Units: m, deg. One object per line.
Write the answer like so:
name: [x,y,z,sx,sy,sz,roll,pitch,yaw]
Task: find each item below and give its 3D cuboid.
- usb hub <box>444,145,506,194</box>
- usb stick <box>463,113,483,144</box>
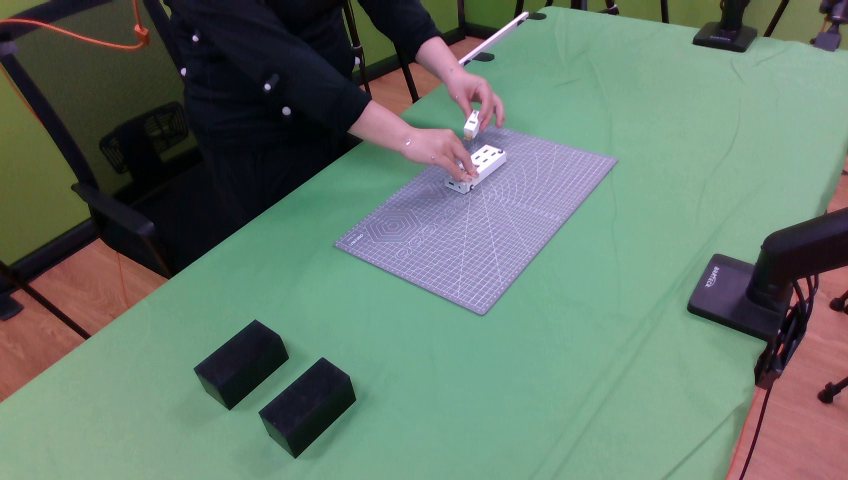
usb hub: [0.095,-0.129,1.101,0.049,0.025,0.125,27,51,33]
usb stick: [0.090,-0.208,1.135,0.021,0.027,0.059,20,71,21]
